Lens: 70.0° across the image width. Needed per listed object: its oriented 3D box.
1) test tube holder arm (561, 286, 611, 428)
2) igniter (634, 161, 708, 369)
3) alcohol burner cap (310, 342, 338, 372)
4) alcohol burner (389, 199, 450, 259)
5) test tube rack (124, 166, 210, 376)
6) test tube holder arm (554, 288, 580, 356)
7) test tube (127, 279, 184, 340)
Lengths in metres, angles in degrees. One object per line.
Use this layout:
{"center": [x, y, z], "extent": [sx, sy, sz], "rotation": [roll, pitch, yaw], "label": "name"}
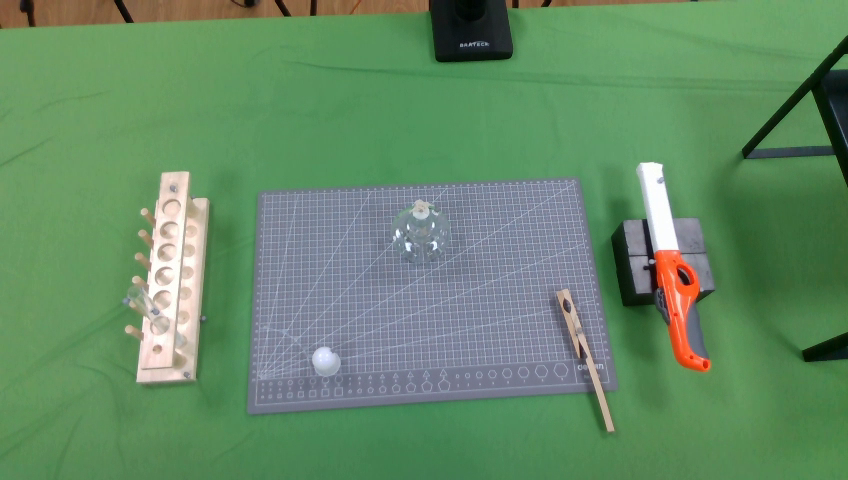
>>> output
{"center": [0.200, 0.143, 0.753], "extent": [0.013, 0.015, 0.177], "rotation": [-21, 71, 14], "label": "test tube holder arm"}
{"center": [0.303, 0.023, 0.752], "extent": [0.057, 0.025, 0.274], "rotation": [0, 65, -5], "label": "igniter"}
{"center": [-0.122, 0.138, 0.728], "extent": [0.034, 0.048, 0.033], "rotation": [1, 67, -3], "label": "alcohol burner cap"}
{"center": [-0.006, -0.021, 0.759], "extent": [0.078, 0.120, 0.077], "rotation": [0, 68, 0], "label": "alcohol burner"}
{"center": [-0.317, 0.037, 0.741], "extent": [0.067, 0.086, 0.240], "rotation": [-2, 68, -3], "label": "test tube rack"}
{"center": [0.184, 0.104, 0.768], "extent": [0.010, 0.015, 0.087], "rotation": [-20, 71, 15], "label": "test tube holder arm"}
{"center": [-0.293, 0.081, 0.670], "extent": [0.017, 0.151, 0.017], "rotation": [2, 61, -3], "label": "test tube"}
